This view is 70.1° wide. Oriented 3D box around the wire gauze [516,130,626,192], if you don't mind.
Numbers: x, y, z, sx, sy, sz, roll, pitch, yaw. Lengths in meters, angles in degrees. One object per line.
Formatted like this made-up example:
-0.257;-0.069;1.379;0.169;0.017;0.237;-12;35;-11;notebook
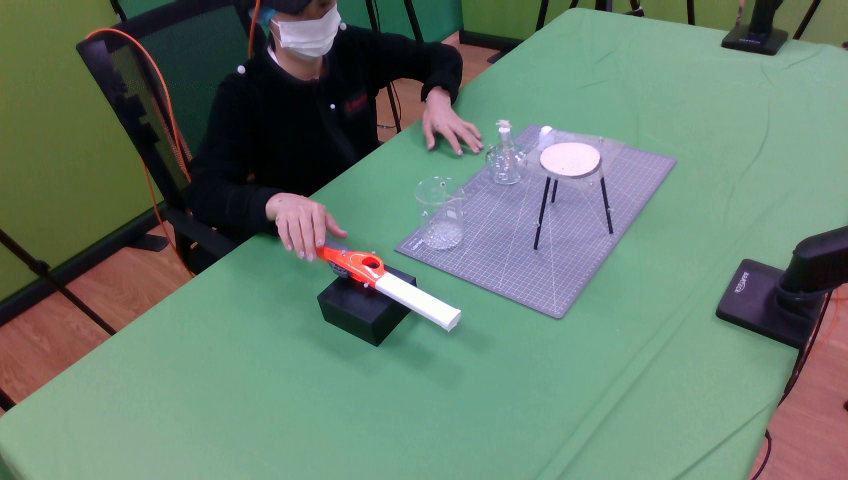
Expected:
0.216;-0.124;0.892;0.124;0.011;0.122;22;49;31;wire gauze

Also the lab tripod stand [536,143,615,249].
0.224;-0.069;0.931;0.148;0.132;0.147;-4;42;4;lab tripod stand

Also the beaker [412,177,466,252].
0.029;-0.038;0.952;0.083;0.101;0.074;9;43;18;beaker

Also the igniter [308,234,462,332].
-0.066;0.054;0.846;0.274;0.025;0.057;26;49;29;igniter

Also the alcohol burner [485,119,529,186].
0.146;-0.157;1.064;0.078;0.119;0.077;-6;39;5;alcohol burner

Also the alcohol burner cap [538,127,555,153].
0.234;-0.191;1.147;0.034;0.048;0.033;-5;40;5;alcohol burner cap
